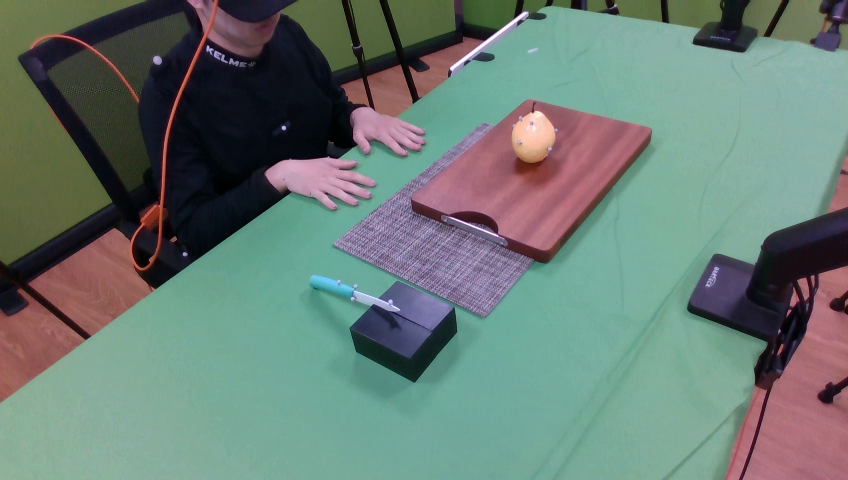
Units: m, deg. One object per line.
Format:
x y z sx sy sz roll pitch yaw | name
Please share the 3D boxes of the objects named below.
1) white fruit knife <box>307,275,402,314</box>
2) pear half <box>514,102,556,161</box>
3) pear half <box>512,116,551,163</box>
-0.102 0.076 0.847 0.205 0.027 0.016 11 46 43 | white fruit knife
0.196 -0.198 1.060 0.076 0.110 0.056 13 44 17 | pear half
0.182 -0.169 1.043 0.070 0.088 0.031 12 45 18 | pear half
